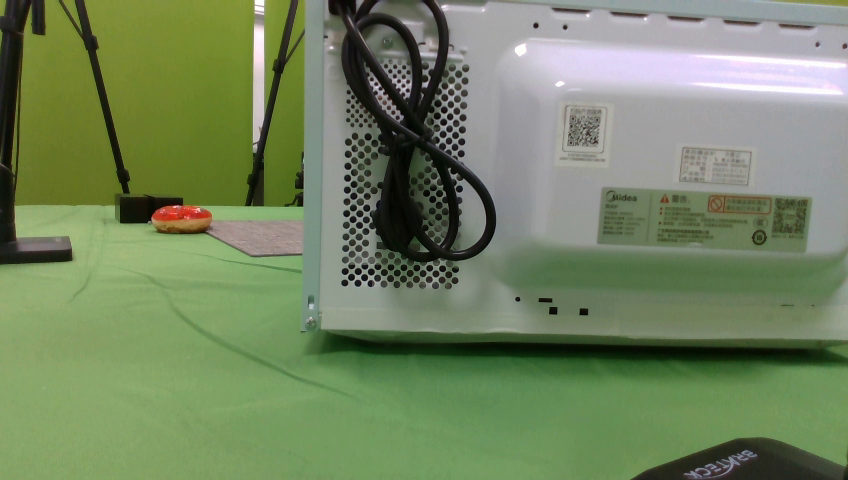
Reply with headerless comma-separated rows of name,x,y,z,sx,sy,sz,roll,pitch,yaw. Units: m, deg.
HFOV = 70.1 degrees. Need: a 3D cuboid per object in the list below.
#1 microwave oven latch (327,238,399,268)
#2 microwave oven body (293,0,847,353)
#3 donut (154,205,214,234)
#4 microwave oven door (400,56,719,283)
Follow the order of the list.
microwave oven latch,-0.069,0.015,0.694,0.079,0.029,0.030,3,7,-3
microwave oven body,0.122,-0.055,0.550,0.442,0.260,0.325,3,7,-5
donut,-0.426,-0.037,1.075,0.099,0.048,0.099,2,12,0
microwave oven door,0.155,-0.077,0.698,0.356,0.243,0.039,2,8,-5
